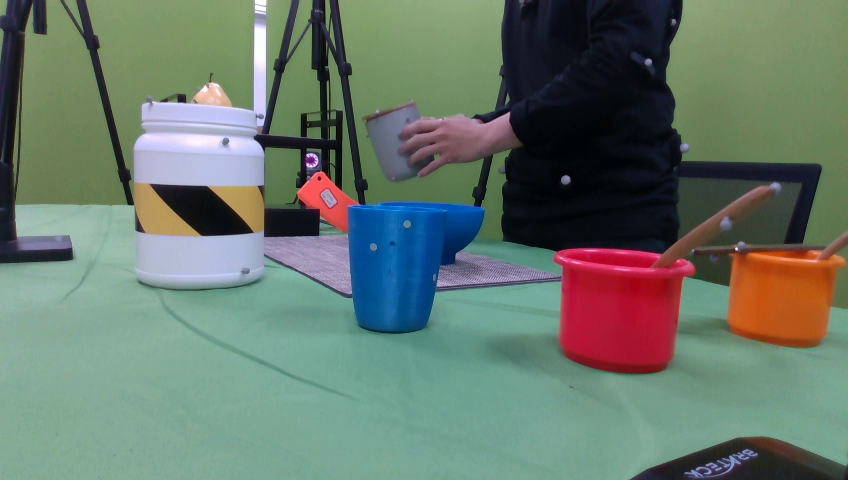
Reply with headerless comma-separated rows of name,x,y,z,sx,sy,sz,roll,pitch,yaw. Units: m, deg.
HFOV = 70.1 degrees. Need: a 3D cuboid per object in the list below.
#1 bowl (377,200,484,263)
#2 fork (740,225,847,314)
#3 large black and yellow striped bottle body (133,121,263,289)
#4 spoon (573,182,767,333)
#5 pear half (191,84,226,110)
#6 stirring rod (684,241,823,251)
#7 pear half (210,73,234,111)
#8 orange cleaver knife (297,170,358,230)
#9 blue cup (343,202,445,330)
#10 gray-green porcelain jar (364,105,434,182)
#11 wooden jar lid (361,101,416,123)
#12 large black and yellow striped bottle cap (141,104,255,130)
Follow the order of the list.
bowl,0.008,-0.012,0.842,0.151,0.077,0.151,2,7,0
fork,0.323,0.013,0.485,0.028,0.018,0.207,8,-38,-6
large black and yellow striped bottle body,-0.243,-0.048,0.659,0.131,0.184,0.130,2,7,0
spoon,0.158,0.020,0.412,0.042,0.021,0.193,-2,-35,-21
pear half,-0.406,-0.248,1.128,0.070,0.088,0.031,5,7,2
stirring rod,0.289,0.005,0.525,0.177,0.006,0.014,-1,5,-26
pear half,-0.402,-0.262,1.162,0.076,0.109,0.056,7,7,2
orange cleaver knife,-0.149,-0.058,1.170,0.212,0.077,0.012,33,-15,-32
blue cup,-0.027,0.021,0.510,0.093,0.100,0.092,3,5,0
gray-green porcelain jar,-0.044,-0.181,1.155,0.106,0.126,0.106,-19,13,5
wooden jar lid,-0.066,-0.237,1.141,0.108,0.021,0.108,-17,13,4
large black and yellow striped bottle cap,-0.241,-0.131,0.650,0.115,0.019,0.115,3,8,0
